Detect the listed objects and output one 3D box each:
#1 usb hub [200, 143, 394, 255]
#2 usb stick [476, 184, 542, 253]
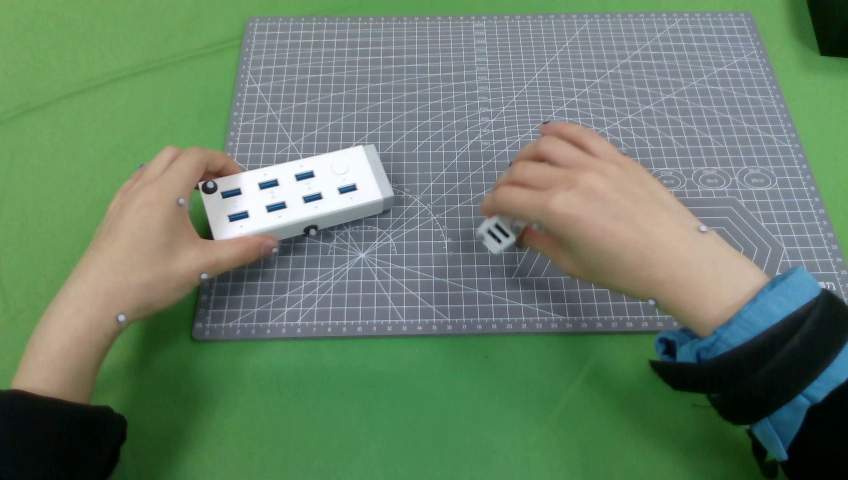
[{"bbox_3d":[-0.088,-0.031,0.426,0.125,0.025,0.049,-16,69,-16],"label":"usb hub"},{"bbox_3d":[0.061,-0.019,0.409,0.021,0.027,0.059,45,46,0],"label":"usb stick"}]
